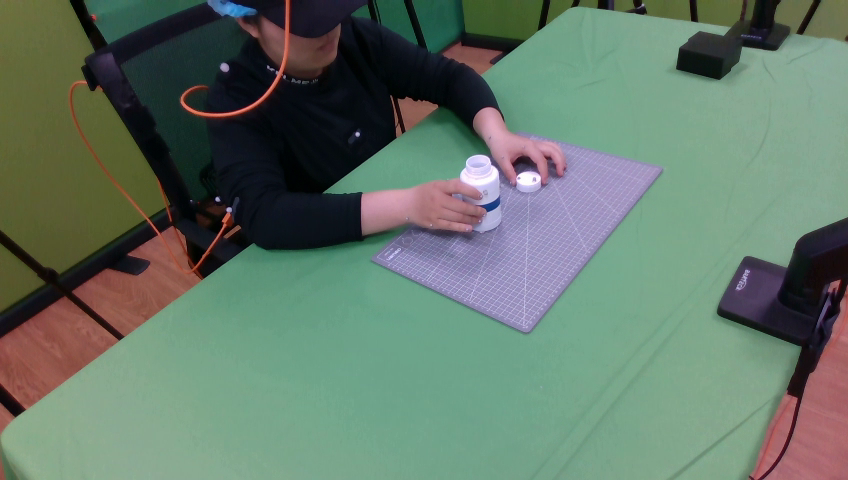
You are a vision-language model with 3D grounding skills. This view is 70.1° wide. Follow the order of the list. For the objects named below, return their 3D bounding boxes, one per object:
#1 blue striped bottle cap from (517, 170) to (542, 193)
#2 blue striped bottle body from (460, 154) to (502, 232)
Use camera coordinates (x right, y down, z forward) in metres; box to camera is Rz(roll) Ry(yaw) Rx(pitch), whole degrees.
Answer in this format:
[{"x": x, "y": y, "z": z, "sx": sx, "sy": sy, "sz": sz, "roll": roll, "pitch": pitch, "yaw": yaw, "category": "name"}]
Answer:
[{"x": 0.187, "y": -0.104, "z": 1.073, "sx": 0.044, "sy": 0.021, "sz": 0.044, "roll": -5, "pitch": 47, "yaw": 6, "category": "blue striped bottle cap"}, {"x": 0.092, "y": -0.078, "z": 0.976, "sx": 0.063, "sy": 0.121, "sz": 0.063, "roll": -6, "pitch": 40, "yaw": 5, "category": "blue striped bottle body"}]
